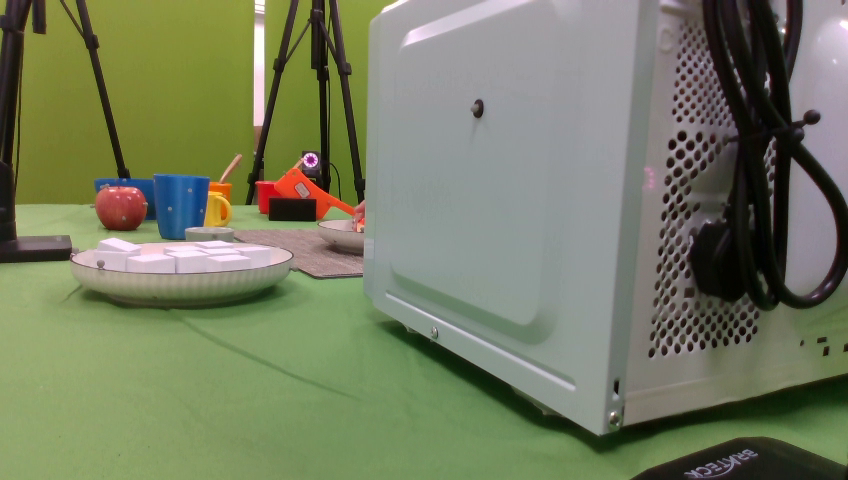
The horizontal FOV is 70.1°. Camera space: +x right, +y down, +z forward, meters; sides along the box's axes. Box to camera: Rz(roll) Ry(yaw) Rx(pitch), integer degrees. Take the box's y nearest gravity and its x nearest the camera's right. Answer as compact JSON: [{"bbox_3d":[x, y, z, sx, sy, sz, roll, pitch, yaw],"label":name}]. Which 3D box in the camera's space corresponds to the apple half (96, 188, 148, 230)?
[{"bbox_3d":[-0.517,-0.052,1.036,0.081,0.074,0.053,3,10,-26],"label":"apple half"}]

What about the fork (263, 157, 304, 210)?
[{"bbox_3d":[-0.345,-0.143,1.505,0.028,0.019,0.207,-4,46,29],"label":"fork"}]

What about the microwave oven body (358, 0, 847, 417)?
[{"bbox_3d":[0.211,-0.047,0.474,0.444,0.260,0.324,-1,7,-28],"label":"microwave oven body"}]

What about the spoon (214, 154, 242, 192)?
[{"bbox_3d":[-0.439,-0.124,1.318,0.041,0.193,0.022,5,-37,16],"label":"spoon"}]

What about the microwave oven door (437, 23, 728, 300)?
[{"bbox_3d":[0.181,-0.072,0.621,0.358,0.243,0.039,-2,8,-29],"label":"microwave oven door"}]

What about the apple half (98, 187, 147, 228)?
[{"bbox_3d":[-0.534,-0.059,1.071,0.082,0.081,0.032,-1,11,-25],"label":"apple half"}]

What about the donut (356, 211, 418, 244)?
[{"bbox_3d":[-0.057,-0.019,0.945,0.099,0.048,0.099,5,7,0],"label":"donut"}]

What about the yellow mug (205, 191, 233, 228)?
[{"bbox_3d":[-0.415,-0.057,1.132,0.130,0.064,0.100,6,8,16],"label":"yellow mug"}]

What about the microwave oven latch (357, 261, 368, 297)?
[{"bbox_3d":[-0.019,0.033,0.531,0.079,0.029,0.030,-1,7,-27],"label":"microwave oven latch"}]

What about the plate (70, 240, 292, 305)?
[{"bbox_3d":[-0.242,0.031,0.618,0.208,0.039,0.207,2,8,0],"label":"plate"}]

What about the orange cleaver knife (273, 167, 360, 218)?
[{"bbox_3d":[-0.238,-0.091,1.381,0.212,0.077,0.012,31,0,-19],"label":"orange cleaver knife"}]

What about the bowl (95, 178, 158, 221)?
[{"bbox_3d":[-0.576,-0.081,1.217,0.151,0.077,0.151,3,8,0],"label":"bowl"}]

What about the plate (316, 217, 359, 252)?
[{"bbox_3d":[-0.063,-0.007,0.944,0.209,0.038,0.209,3,8,0],"label":"plate"}]

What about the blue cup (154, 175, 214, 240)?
[{"bbox_3d":[-0.390,-0.053,0.978,0.093,0.100,0.092,3,6,0],"label":"blue cup"}]

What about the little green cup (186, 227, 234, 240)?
[{"bbox_3d":[-0.284,0.005,0.805,0.061,0.038,0.061,2,8,0],"label":"little green cup"}]
